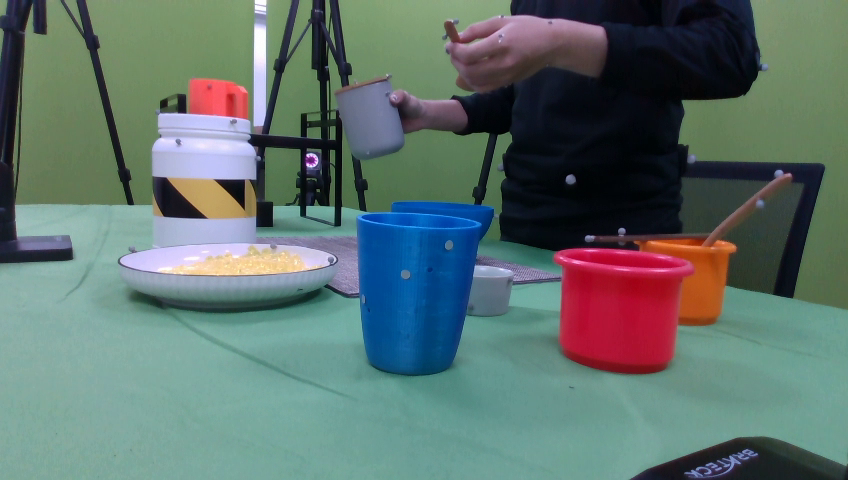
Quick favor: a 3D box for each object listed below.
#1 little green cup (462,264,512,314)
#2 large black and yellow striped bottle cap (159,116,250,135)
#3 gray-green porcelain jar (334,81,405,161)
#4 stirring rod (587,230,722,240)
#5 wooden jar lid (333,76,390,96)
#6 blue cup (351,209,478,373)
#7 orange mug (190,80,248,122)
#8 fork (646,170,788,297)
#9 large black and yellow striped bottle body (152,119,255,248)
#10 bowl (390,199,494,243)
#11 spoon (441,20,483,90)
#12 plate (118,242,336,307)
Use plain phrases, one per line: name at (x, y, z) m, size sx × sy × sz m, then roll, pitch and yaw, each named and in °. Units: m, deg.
little green cup at (0.053, 0.047, 0.580) m, size 0.061 × 0.038 × 0.061 m, roll 3°, pitch 8°, yaw 0°
large black and yellow striped bottle cap at (-0.292, -0.153, 0.810) m, size 0.115 × 0.019 × 0.115 m, roll 3°, pitch 8°, yaw 0°
gray-green porcelain jar at (-0.097, -0.216, 1.112) m, size 0.106 × 0.126 × 0.106 m, roll -14°, pitch 11°, yaw 3°
stirring rod at (0.227, -0.005, 0.585) m, size 0.177 × 0.006 × 0.014 m, roll -2°, pitch 7°, yaw -28°
wooden jar lid at (-0.112, -0.274, 1.100) m, size 0.108 × 0.021 × 0.108 m, roll -15°, pitch 12°, yaw 4°
blue cup at (-0.009, 0.034, 0.414) m, size 0.093 × 0.100 × 0.092 m, roll 3°, pitch 9°, yaw 0°
orange mug at (-0.394, -0.257, 1.173) m, size 0.126 × 0.100 × 0.084 m, roll 1°, pitch 6°, yaw 25°
fork at (0.256, 0.004, 0.543) m, size 0.028 × 0.018 × 0.207 m, roll 3°, pitch -36°, yaw -10°
large black and yellow striped bottle body at (-0.296, -0.070, 0.819) m, size 0.131 × 0.184 × 0.130 m, roll 2°, pitch 7°, yaw 0°
bowl at (0.024, -0.015, 0.871) m, size 0.151 × 0.077 × 0.151 m, roll 3°, pitch 7°, yaw 0°
spoon at (0.045, -0.238, 0.791) m, size 0.041 × 0.021 × 0.194 m, roll 10°, pitch -10°, yaw 16°
plate at (-0.194, 0.033, 0.615) m, size 0.209 × 0.038 × 0.209 m, roll 2°, pitch 7°, yaw 0°
